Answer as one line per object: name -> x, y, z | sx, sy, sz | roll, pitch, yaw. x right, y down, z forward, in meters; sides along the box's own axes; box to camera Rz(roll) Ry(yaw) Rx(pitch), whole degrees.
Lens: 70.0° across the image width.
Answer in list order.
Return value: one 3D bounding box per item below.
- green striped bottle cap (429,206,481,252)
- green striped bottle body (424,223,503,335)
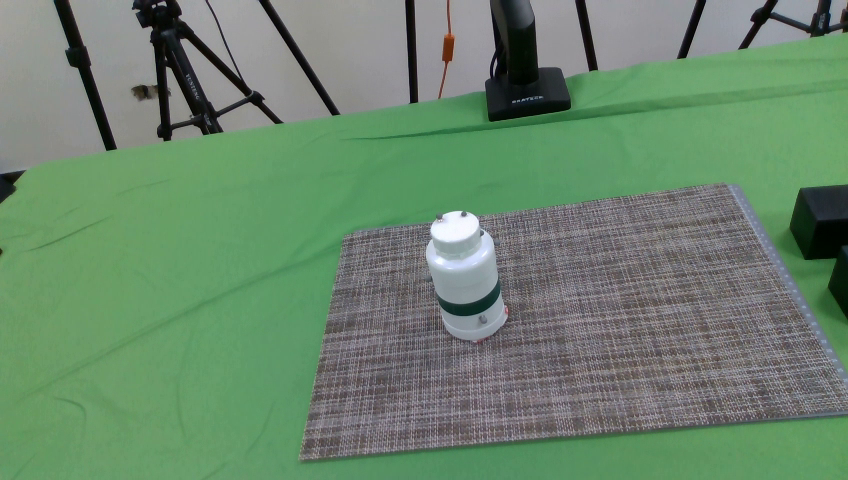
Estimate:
green striped bottle cap -> 0.027, -0.010, 0.531 | 0.044, 0.020, 0.044 | -9, 40, 8
green striped bottle body -> 0.036, 0.028, 0.565 | 0.063, 0.120, 0.062 | -8, 41, 7
